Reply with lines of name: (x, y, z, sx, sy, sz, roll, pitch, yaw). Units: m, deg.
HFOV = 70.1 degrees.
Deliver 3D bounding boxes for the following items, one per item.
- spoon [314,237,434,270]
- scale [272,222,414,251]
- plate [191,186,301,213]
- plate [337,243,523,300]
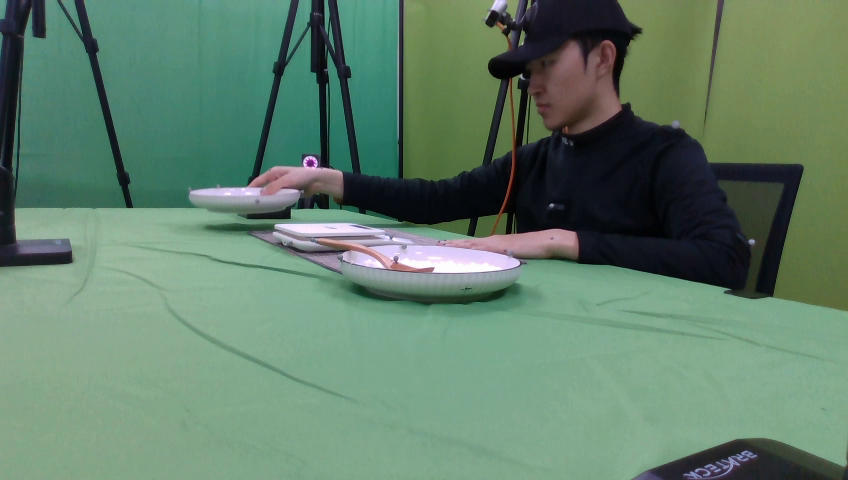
spoon: (-0.064, 0.015, 0.695, 0.192, 0.021, 0.042, 18, 16, 42)
scale: (-0.131, -0.008, 0.984, 0.202, 0.031, 0.148, -2, 8, -32)
plate: (-0.350, -0.081, 1.200, 0.208, 0.039, 0.207, 0, 10, 0)
plate: (0.007, 0.035, 0.688, 0.209, 0.038, 0.209, 2, 7, 0)
